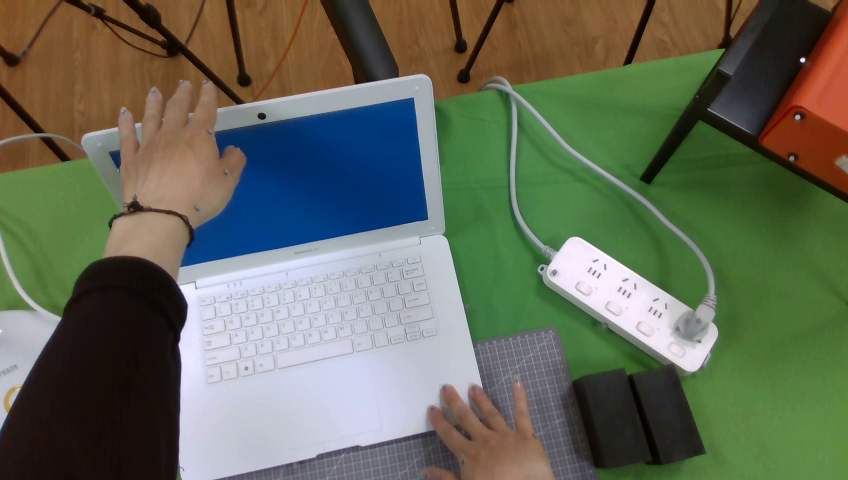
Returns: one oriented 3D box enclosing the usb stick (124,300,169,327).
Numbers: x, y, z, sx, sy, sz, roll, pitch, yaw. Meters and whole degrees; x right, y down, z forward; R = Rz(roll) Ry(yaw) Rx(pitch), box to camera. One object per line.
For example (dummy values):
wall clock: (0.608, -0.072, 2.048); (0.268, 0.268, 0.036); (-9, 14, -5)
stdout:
usb stick: (-0.326, 0.088, 0.729); (0.059, 0.027, 0.021); (-7, 65, -6)

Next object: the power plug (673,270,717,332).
power plug: (0.325, 0.077, 0.714); (0.072, 0.053, 0.035); (-42, 75, -15)

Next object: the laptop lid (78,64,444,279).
laptop lid: (-0.157, -0.065, 0.682); (0.357, 0.244, 0.013); (-13, 47, -3)

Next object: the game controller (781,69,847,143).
game controller: (0.454, -0.108, 0.602); (0.154, 0.052, 0.097); (36, 79, 14)

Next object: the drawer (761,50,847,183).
drawer: (0.478, -0.146, 0.601); (0.194, 0.073, 0.211); (33, 74, 11)

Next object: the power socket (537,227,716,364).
power socket: (0.248, 0.066, 0.742); (0.226, 0.033, 0.072); (35, 74, 11)

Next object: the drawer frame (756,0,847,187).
drawer frame: (0.478, -0.149, 0.600); (0.201, 0.083, 0.213); (33, 74, 11)

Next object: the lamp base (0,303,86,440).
lamp base: (-0.489, 0.118, 0.643); (0.160, 0.181, 0.178); (-41, 73, -13)

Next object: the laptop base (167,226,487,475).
laptop base: (-0.121, 0.123, 0.730); (0.355, 0.023, 0.234); (-12, 74, -4)
